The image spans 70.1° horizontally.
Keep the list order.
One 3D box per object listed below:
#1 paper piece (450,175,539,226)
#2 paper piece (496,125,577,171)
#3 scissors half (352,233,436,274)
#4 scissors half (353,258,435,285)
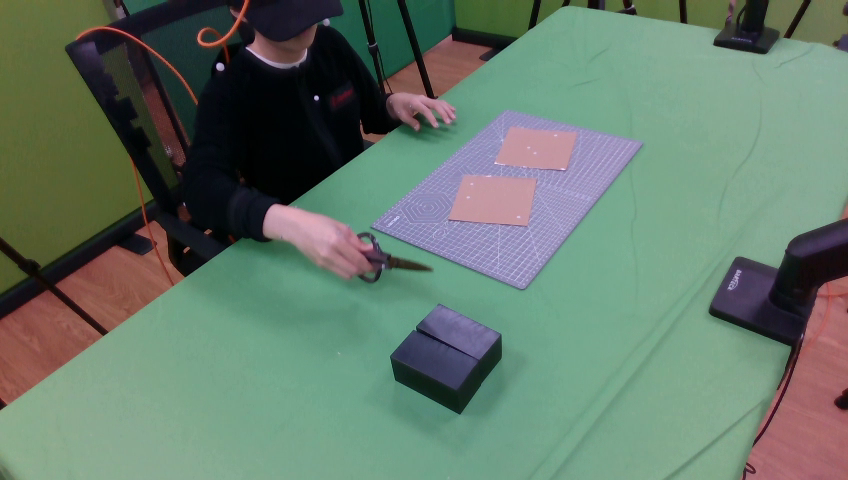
[{"bbox_3d":[0.125,-0.073,1.051,0.135,0.009,0.138,3,42,18],"label":"paper piece"},{"bbox_3d":[0.218,-0.178,1.159,0.135,0.004,0.135,9,44,18],"label":"paper piece"},{"bbox_3d":[-0.044,0.023,0.833,0.013,0.040,0.173,-10,21,-43],"label":"scissors half"},{"bbox_3d":[-0.043,0.042,0.837,0.013,0.040,0.174,-17,8,-41],"label":"scissors half"}]
